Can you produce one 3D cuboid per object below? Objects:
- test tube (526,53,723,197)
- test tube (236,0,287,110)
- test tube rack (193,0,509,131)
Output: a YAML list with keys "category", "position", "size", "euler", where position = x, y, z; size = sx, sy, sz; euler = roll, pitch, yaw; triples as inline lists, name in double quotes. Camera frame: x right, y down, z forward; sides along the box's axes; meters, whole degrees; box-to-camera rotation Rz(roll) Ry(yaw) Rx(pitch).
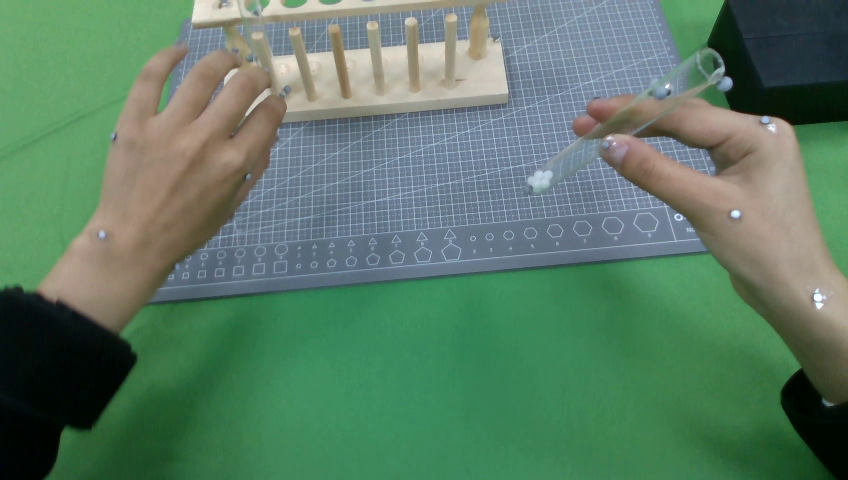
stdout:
- category: "test tube"
  position: [0.096, -0.054, 0.324]
  size: [0.017, 0.150, 0.017]
  euler: [6, 72, -20]
- category: "test tube"
  position: [-0.124, -0.153, 0.449]
  size: [0.017, 0.151, 0.017]
  euler: [0, 60, 0]
- category: "test tube rack"
  position: [-0.054, -0.152, 0.495]
  size: [0.242, 0.086, 0.066]
  euler: [-5, 60, 1]
